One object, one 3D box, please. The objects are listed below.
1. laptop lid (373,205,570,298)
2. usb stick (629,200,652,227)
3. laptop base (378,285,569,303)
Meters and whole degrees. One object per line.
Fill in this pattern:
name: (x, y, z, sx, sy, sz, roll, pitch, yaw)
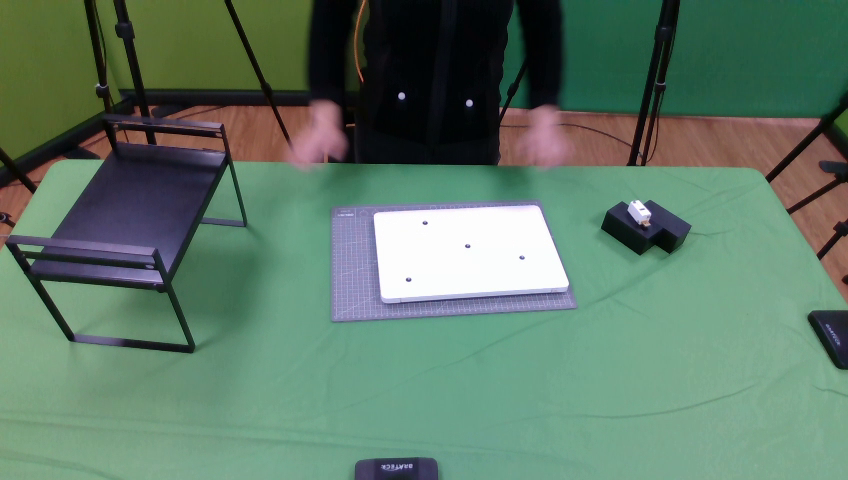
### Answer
laptop lid: (0.083, 0.014, 1.174, 0.357, 0.013, 0.240, -2, 44, -6)
usb stick: (0.433, -0.051, 1.203, 0.021, 0.027, 0.059, -11, 50, -15)
laptop base: (0.083, 0.025, 1.181, 0.355, 0.023, 0.234, -3, 43, -7)
